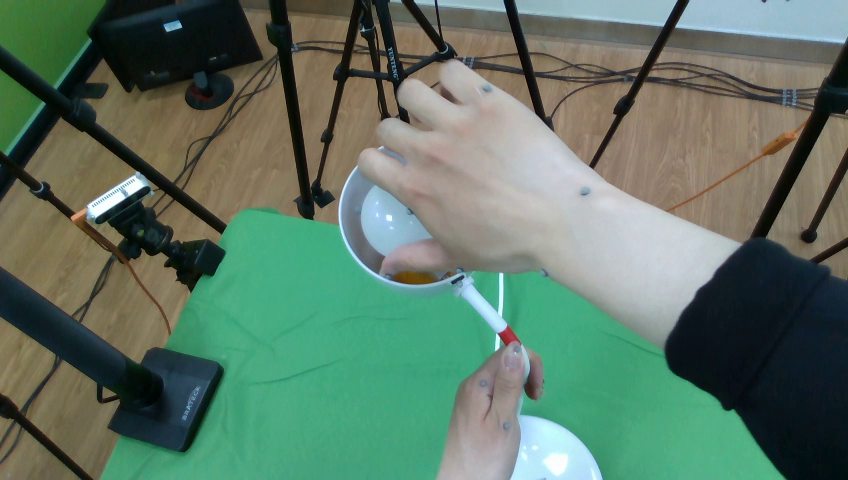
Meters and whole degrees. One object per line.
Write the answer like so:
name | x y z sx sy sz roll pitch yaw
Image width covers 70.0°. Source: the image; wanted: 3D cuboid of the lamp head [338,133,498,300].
lamp head | 0.001 -0.004 0.467 0.112 0.124 0.111 -2 68 6

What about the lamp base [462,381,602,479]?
lamp base | 0.110 0.230 0.640 0.161 0.182 0.177 -24 57 -8

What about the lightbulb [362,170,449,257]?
lightbulb | -0.009 -0.013 0.439 0.059 0.108 0.059 -2 77 9
